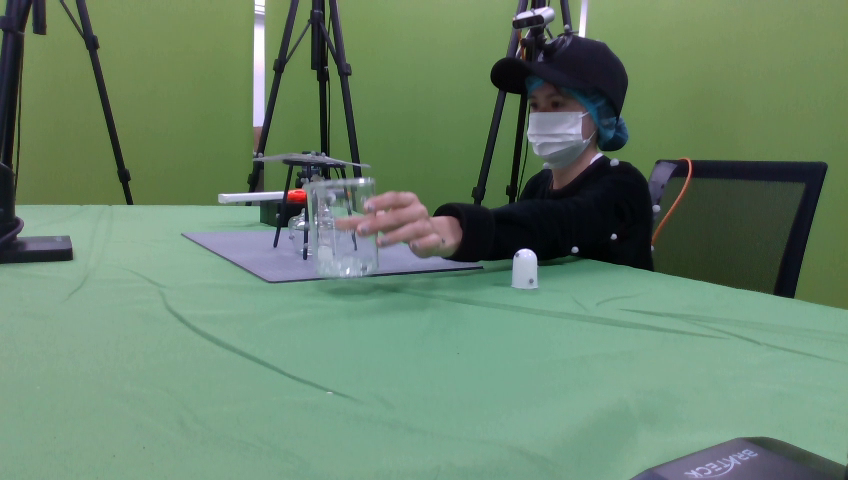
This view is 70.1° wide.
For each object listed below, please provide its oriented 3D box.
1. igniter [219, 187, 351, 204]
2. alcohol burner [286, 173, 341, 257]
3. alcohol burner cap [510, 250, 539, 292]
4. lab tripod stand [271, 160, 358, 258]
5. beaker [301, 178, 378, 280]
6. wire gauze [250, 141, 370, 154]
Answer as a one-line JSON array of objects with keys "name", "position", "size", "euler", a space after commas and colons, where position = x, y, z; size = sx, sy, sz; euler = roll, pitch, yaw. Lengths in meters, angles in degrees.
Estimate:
[{"name": "igniter", "position": [-0.280, -0.092, 1.254], "size": [0.278, 0.025, 0.057], "euler": [-6, 11, -34]}, {"name": "alcohol burner", "position": [-0.158, -0.037, 0.868], "size": [0.078, 0.119, 0.078], "euler": [1, 6, 0]}, {"name": "alcohol burner cap", "position": [0.118, 0.036, 0.704], "size": [0.034, 0.048, 0.034], "euler": [0, 7, 0]}, {"name": "lab tripod stand", "position": [-0.160, -0.048, 0.876], "size": [0.148, 0.131, 0.148], "euler": [3, 5, 0]}, {"name": "beaker", "position": [-0.088, -0.013, 0.633], "size": [0.084, 0.100, 0.074], "euler": [0, 8, 18]}, {"name": "wire gauze", "position": [-0.163, -0.131, 0.867], "size": [0.124, 0.011, 0.122], "euler": [-1, 8, 32]}]
